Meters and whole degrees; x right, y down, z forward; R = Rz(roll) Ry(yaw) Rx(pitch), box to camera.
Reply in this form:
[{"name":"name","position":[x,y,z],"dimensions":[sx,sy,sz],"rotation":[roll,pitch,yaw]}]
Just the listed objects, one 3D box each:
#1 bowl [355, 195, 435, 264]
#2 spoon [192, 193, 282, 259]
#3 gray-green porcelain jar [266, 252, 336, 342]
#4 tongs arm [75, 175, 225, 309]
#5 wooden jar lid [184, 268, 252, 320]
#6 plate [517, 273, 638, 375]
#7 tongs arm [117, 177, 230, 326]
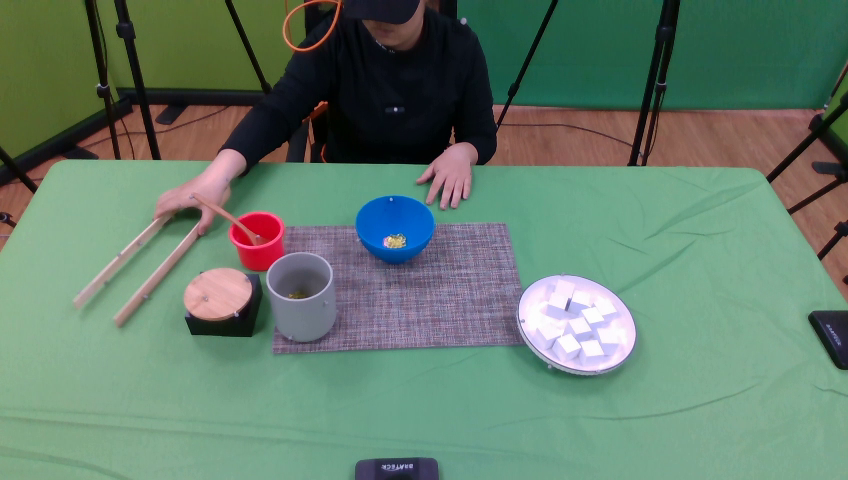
[{"name":"bowl","position":[-0.056,-0.008,1.158],"dimensions":[0.151,0.077,0.150],"rotation":[2,46,-2]},{"name":"spoon","position":[-0.342,-0.027,1.115],"dimensions":[0.194,0.021,0.041],"rotation":[43,40,-24]},{"name":"gray-green porcelain jar","position":[-0.202,0.100,1.009],"dimensions":[0.106,0.127,0.105],"rotation":[2,46,-2]},{"name":"tongs arm","position":[-0.508,-0.007,1.158],"dimensions":[0.050,0.026,0.383],"rotation":[19,47,9]},{"name":"wooden jar lid","position":[-0.343,0.092,1.015],"dimensions":[0.108,0.021,0.107],"rotation":[3,46,-3]},{"name":"plate","position":[0.264,0.149,1.060],"dimensions":[0.209,0.038,0.208],"rotation":[3,46,-3]},{"name":"tongs arm","position":[-0.463,0.009,1.152],"dimensions":[0.028,0.028,0.386],"rotation":[14,46,9]}]
